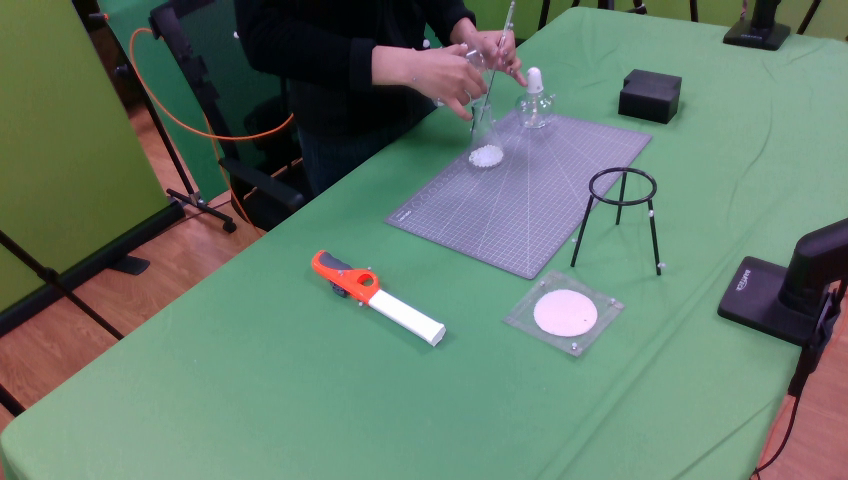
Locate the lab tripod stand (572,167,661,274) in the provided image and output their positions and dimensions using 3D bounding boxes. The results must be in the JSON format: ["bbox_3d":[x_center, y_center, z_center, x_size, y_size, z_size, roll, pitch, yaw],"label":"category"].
[{"bbox_3d":[0.283,-0.030,0.879,0.148,0.132,0.147,-7,38,6],"label":"lab tripod stand"}]

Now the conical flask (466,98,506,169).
[{"bbox_3d":[0.111,-0.199,1.116,0.075,0.122,0.075,-6,40,5],"label":"conical flask"}]

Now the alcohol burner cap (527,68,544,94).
[{"bbox_3d":[0.216,-0.312,1.179,0.034,0.048,0.033,-9,40,8],"label":"alcohol burner cap"}]

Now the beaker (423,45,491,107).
[{"bbox_3d":[0.056,-0.276,1.039,0.100,0.084,0.073,-25,38,-3],"label":"beaker"}]

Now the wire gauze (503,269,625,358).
[{"bbox_3d":[0.194,0.100,0.840,0.120,0.011,0.125,27,54,36],"label":"wire gauze"}]

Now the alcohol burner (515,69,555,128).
[{"bbox_3d":[0.221,-0.285,1.203,0.078,0.119,0.077,-4,39,4],"label":"alcohol burner"}]

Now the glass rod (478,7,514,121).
[{"bbox_3d":[0.126,-0.304,1.058,0.008,0.200,0.008,13,21,-5],"label":"glass rod"}]

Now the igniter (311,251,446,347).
[{"bbox_3d":[-0.078,0.081,0.899,0.274,0.025,0.057,27,62,35],"label":"igniter"}]
